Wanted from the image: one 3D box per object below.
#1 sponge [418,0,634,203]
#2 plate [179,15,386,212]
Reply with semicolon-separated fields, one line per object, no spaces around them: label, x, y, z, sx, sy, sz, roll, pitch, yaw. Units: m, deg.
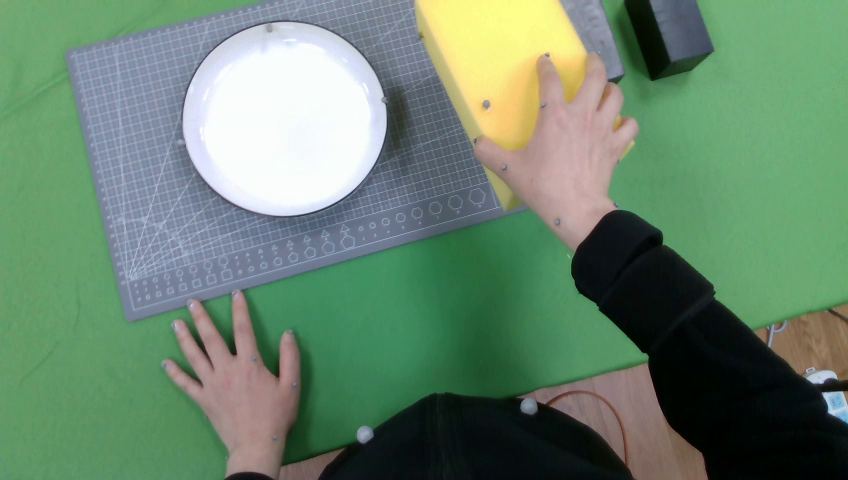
sponge;0.088;-0.153;0.561;0.118;0.061;0.206;-24;79;-3
plate;-0.144;-0.129;0.633;0.209;0.038;0.208;0;83;-3
